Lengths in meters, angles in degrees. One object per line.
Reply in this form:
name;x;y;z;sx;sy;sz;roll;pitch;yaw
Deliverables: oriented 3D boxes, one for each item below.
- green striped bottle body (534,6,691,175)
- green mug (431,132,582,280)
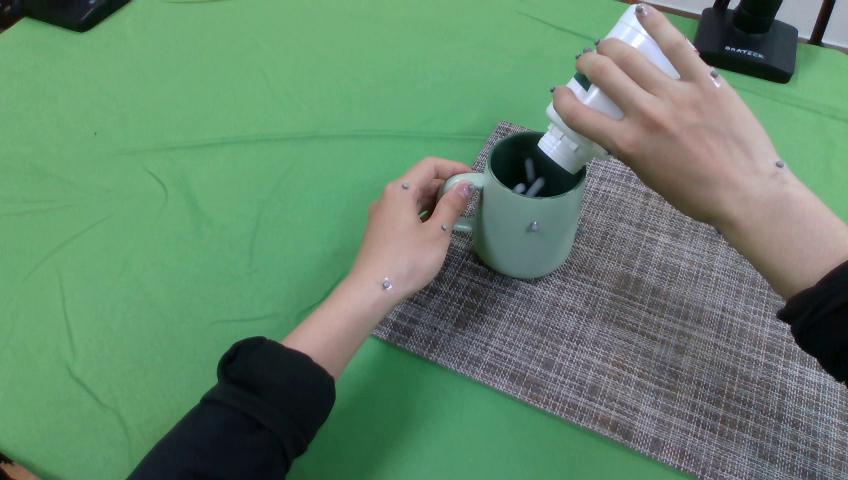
green striped bottle body;0.135;-0.107;0.457;0.063;0.119;0.063;34;19;-13
green mug;0.069;-0.027;0.519;0.125;0.106;0.091;-1;51;-1
